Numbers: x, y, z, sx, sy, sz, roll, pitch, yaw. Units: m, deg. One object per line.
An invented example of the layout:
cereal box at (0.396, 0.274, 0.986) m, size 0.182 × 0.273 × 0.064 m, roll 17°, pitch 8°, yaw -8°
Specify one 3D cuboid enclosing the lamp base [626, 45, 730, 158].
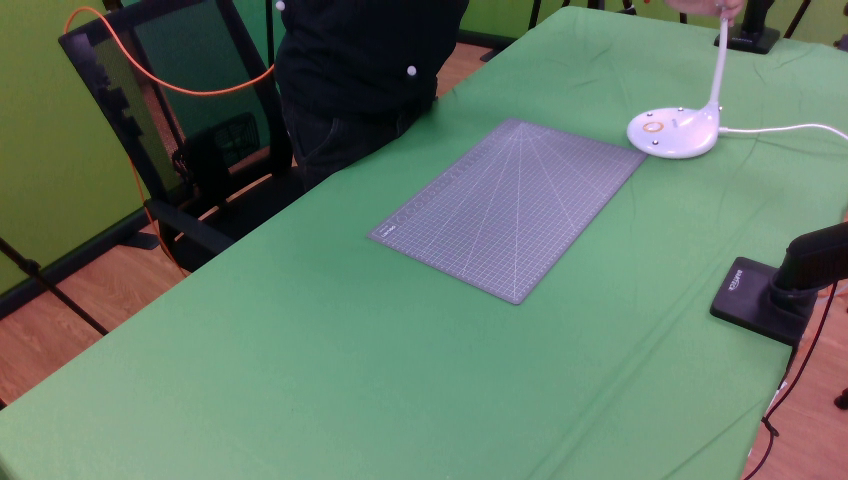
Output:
lamp base at (0.468, -0.262, 1.085) m, size 0.179 × 0.181 × 0.159 m, roll -4°, pitch 41°, yaw -1°
